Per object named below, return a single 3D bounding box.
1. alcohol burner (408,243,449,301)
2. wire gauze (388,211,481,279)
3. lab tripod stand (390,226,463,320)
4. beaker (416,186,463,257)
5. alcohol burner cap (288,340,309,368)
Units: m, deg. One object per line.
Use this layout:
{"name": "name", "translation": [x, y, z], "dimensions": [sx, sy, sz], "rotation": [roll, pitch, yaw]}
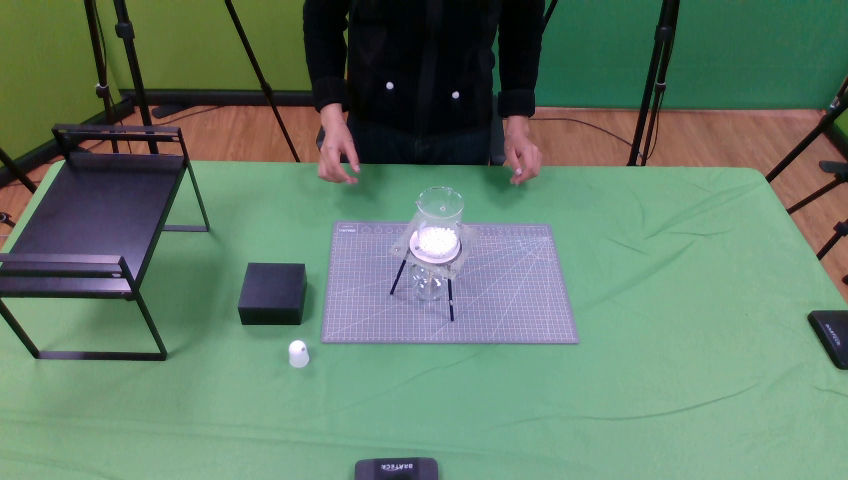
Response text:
{"name": "alcohol burner", "translation": [0.010, 0.052, 1.078], "dimensions": [0.078, 0.120, 0.077], "rotation": [1, 45, -1]}
{"name": "wire gauze", "translation": [0.018, 0.003, 1.020], "dimensions": [0.125, 0.011, 0.121], "rotation": [20, 47, 18]}
{"name": "lab tripod stand", "translation": [0.014, 0.053, 1.063], "dimensions": [0.148, 0.132, 0.147], "rotation": [1, 48, -1]}
{"name": "beaker", "translation": [0.024, -0.029, 0.984], "dimensions": [0.074, 0.101, 0.083], "rotation": [19, 49, 14]}
{"name": "alcohol burner cap", "translation": [-0.207, 0.183, 0.991], "dimensions": [0.034, 0.048, 0.033], "rotation": [3, 47, -3]}
